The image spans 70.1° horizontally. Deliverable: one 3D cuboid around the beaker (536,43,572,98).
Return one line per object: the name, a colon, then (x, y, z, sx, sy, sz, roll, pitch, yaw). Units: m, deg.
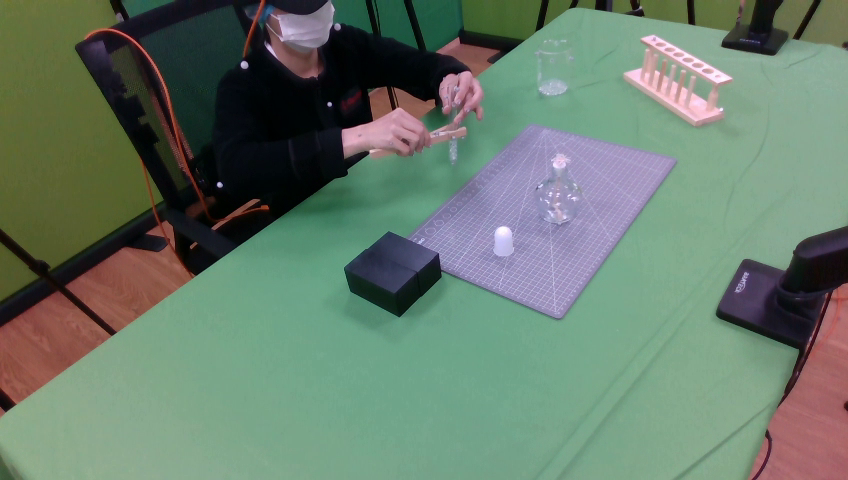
beaker: (0.280, -0.368, 1.311, 0.074, 0.101, 0.084, 4, 41, 14)

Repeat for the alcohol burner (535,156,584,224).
alcohol burner: (0.217, -0.085, 0.967, 0.078, 0.119, 0.077, -3, 41, 3)

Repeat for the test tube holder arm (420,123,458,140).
test tube holder arm: (0.026, -0.181, 1.044, 0.088, 0.015, 0.010, -32, 46, -33)

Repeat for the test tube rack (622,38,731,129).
test tube rack: (0.506, -0.325, 1.234, 0.067, 0.085, 0.240, -18, 41, -11)

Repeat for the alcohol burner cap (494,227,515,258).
alcohol burner cap: (0.124, 0.001, 0.936, 0.034, 0.048, 0.033, -4, 40, 4)

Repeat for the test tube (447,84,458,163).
test tube: (0.049, -0.197, 1.039, 0.017, 0.151, 0.017, -2, 41, 2)

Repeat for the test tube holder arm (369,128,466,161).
test tube holder arm: (-0.009, -0.163, 1.021, 0.179, 0.015, 0.013, -19, 39, -20)
